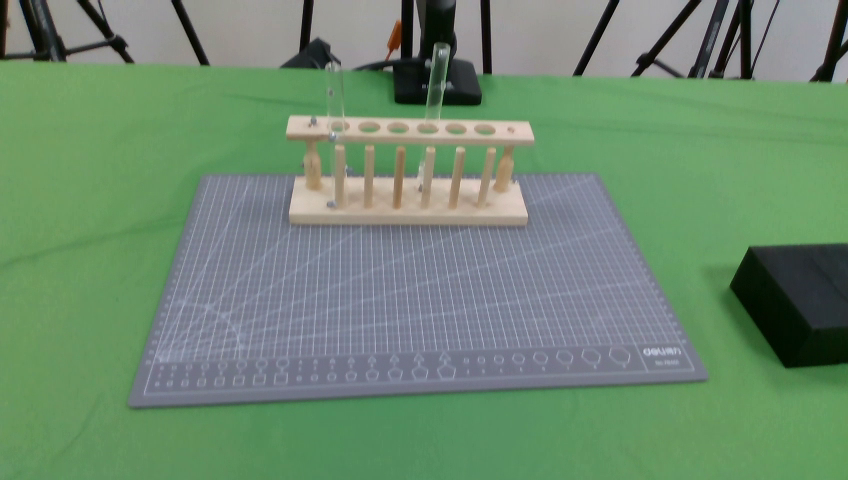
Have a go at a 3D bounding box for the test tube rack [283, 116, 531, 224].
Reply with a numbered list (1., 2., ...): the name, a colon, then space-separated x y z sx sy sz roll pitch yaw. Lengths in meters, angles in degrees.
1. test tube rack: -0.016 -0.070 0.615 0.243 0.086 0.066 0 41 -5

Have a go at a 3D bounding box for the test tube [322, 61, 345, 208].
1. test tube: -0.084 -0.094 0.567 0.017 0.152 0.017 3 39 -2

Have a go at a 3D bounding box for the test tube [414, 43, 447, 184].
1. test tube: 0.005 -0.119 0.598 0.017 0.151 0.017 6 38 -4
